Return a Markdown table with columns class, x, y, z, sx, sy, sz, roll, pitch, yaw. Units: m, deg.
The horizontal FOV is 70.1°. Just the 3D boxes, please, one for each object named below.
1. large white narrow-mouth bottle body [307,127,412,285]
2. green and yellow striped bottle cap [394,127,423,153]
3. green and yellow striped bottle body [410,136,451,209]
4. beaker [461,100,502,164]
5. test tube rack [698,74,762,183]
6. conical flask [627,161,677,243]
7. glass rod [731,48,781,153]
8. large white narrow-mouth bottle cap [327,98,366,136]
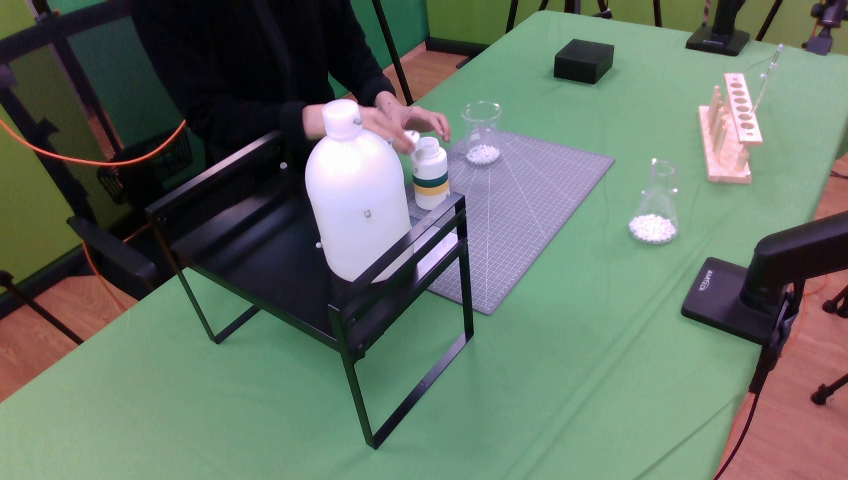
| class | x | y | z | sx | sy | sz | roll | pitch | yaw |
| --- | --- | --- | --- | --- | --- | --- | --- | --- | --- |
| large white narrow-mouth bottle body | -0.070 | -0.051 | 0.638 | 0.102 | 0.195 | 0.101 | -3 | 40 | 3 |
| green and yellow striped bottle cap | -0.025 | -0.158 | 0.949 | 0.045 | 0.020 | 0.045 | -5 | 43 | 5 |
| green and yellow striped bottle body | 0.011 | -0.117 | 1.031 | 0.063 | 0.120 | 0.063 | -4 | 40 | 4 |
| beaker | 0.111 | -0.200 | 1.132 | 0.084 | 0.101 | 0.073 | -27 | 45 | -22 |
| test tube rack | 0.547 | -0.208 | 1.095 | 0.066 | 0.085 | 0.242 | 5 | 42 | 15 |
| conical flask | 0.355 | -0.061 | 0.921 | 0.075 | 0.122 | 0.075 | -4 | 41 | 4 |
| glass rod | 0.554 | -0.228 | 1.014 | 0.008 | 0.200 | 0.008 | 1 | 44 | -1 |
| large white narrow-mouth bottle cap | -0.075 | -0.118 | 0.581 | 0.038 | 0.024 | 0.037 | -3 | 40 | 3 |
